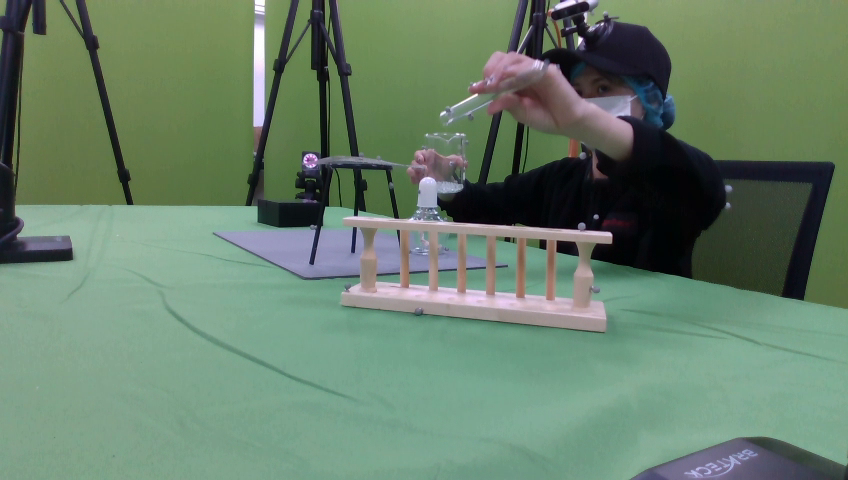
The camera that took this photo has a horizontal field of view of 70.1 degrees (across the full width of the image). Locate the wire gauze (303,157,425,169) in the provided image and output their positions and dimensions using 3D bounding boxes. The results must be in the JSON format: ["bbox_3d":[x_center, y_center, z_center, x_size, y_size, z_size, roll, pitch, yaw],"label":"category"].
[{"bbox_3d":[-0.082,-0.102,0.799,0.126,0.011,0.121,-1,7,-30],"label":"wire gauze"}]

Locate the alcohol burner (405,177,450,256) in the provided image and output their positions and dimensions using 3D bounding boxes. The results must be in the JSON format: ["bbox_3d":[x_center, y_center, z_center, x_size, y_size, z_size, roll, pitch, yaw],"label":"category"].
[{"bbox_3d":[0.004,-0.036,0.917,0.078,0.119,0.078,3,6,0],"label":"alcohol burner"}]

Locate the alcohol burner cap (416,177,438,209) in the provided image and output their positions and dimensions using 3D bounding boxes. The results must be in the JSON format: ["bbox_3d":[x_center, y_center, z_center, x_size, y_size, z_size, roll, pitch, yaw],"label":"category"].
[{"bbox_3d":[0.005,-0.072,0.914,0.034,0.048,0.034,3,10,0],"label":"alcohol burner cap"}]

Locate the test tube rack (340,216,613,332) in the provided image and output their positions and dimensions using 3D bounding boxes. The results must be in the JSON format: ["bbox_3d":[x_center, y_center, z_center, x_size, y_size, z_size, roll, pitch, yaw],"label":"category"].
[{"bbox_3d":[0.047,0.026,0.568,0.242,0.085,0.067,4,8,13],"label":"test tube rack"}]

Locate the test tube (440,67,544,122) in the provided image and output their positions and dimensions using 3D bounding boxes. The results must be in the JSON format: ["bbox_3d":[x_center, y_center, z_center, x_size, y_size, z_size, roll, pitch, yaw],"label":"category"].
[{"bbox_3d":[0.070,-0.155,0.654,0.017,0.017,0.149,-4,-5,-39],"label":"test tube"}]

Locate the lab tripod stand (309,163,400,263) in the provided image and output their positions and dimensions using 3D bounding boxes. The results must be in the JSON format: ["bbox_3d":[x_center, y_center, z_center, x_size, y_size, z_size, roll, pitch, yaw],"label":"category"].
[{"bbox_3d":[-0.091,-0.037,0.813,0.148,0.131,0.148,1,6,0],"label":"lab tripod stand"}]

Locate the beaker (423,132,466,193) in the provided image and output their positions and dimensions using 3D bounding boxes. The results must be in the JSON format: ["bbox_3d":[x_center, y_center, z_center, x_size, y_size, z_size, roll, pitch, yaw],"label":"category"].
[{"bbox_3d":[0.038,-0.135,1.050,0.074,0.100,0.084,-3,15,-5],"label":"beaker"}]
